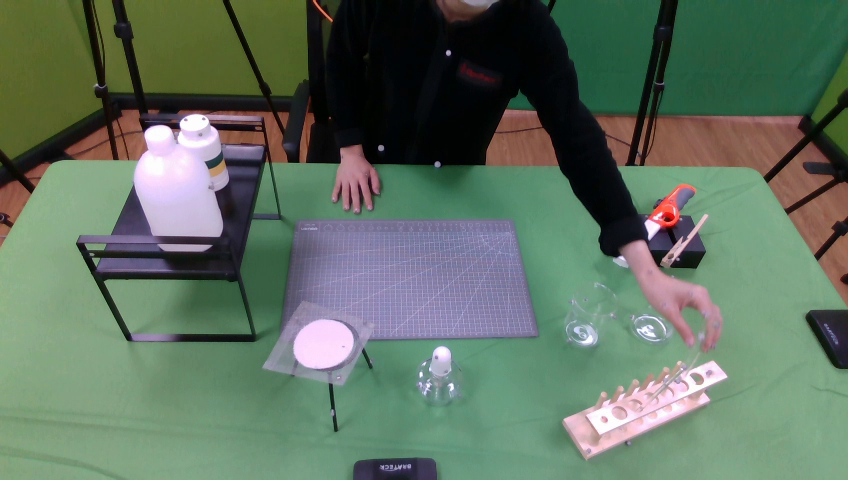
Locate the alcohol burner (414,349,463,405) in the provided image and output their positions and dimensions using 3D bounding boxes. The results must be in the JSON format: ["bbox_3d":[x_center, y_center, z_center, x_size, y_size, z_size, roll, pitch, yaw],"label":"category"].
[{"bbox_3d":[0.023,0.205,0.939,0.078,0.120,0.077,1,47,-1],"label":"alcohol burner"}]

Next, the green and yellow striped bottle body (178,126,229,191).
[{"bbox_3d":[-0.361,-0.142,0.989,0.063,0.120,0.063,2,46,-2],"label":"green and yellow striped bottle body"}]

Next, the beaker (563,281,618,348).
[{"bbox_3d":[0.283,0.129,1.041,0.074,0.101,0.083,11,46,7],"label":"beaker"}]

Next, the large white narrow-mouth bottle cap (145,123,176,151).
[{"bbox_3d":[-0.355,-0.138,0.814,0.038,0.024,0.037,2,44,-1],"label":"large white narrow-mouth bottle cap"}]

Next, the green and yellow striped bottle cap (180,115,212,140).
[{"bbox_3d":[-0.358,-0.177,0.951,0.045,0.020,0.045,1,45,-1],"label":"green and yellow striped bottle cap"}]

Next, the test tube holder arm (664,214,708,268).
[{"bbox_3d":[0.507,0.000,1.170,0.013,0.015,0.178,35,54,25],"label":"test tube holder arm"}]

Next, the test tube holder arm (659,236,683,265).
[{"bbox_3d":[0.472,0.020,1.149,0.010,0.015,0.088,37,55,26],"label":"test tube holder arm"}]

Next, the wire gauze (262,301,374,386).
[{"bbox_3d":[-0.151,0.148,0.873,0.121,0.011,0.124,14,46,12],"label":"wire gauze"}]

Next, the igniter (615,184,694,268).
[{"bbox_3d":[0.459,-0.035,1.196,0.057,0.025,0.276,32,55,27],"label":"igniter"}]

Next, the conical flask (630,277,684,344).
[{"bbox_3d":[0.408,0.117,1.045,0.075,0.122,0.075,2,46,-2],"label":"conical flask"}]

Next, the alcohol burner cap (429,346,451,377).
[{"bbox_3d":[0.026,0.180,0.912,0.034,0.048,0.033,1,47,-1],"label":"alcohol burner cap"}]

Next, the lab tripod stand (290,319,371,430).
[{"bbox_3d":[-0.146,0.194,0.923,0.148,0.132,0.147,1,47,-1],"label":"lab tripod stand"}]

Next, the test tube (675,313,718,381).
[{"bbox_3d":[0.380,0.154,0.852,0.017,0.151,0.017,0,45,0],"label":"test tube"}]

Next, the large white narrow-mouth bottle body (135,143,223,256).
[{"bbox_3d":[-0.358,-0.075,0.874,0.102,0.195,0.101,2,44,-1],"label":"large white narrow-mouth bottle body"}]

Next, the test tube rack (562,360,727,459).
[{"bbox_3d":[0.341,0.247,0.940,0.243,0.085,0.066,-16,49,-18],"label":"test tube rack"}]

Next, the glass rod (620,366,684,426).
[{"bbox_3d":[0.322,0.227,0.866,0.008,0.200,0.008,6,52,-7],"label":"glass rod"}]
